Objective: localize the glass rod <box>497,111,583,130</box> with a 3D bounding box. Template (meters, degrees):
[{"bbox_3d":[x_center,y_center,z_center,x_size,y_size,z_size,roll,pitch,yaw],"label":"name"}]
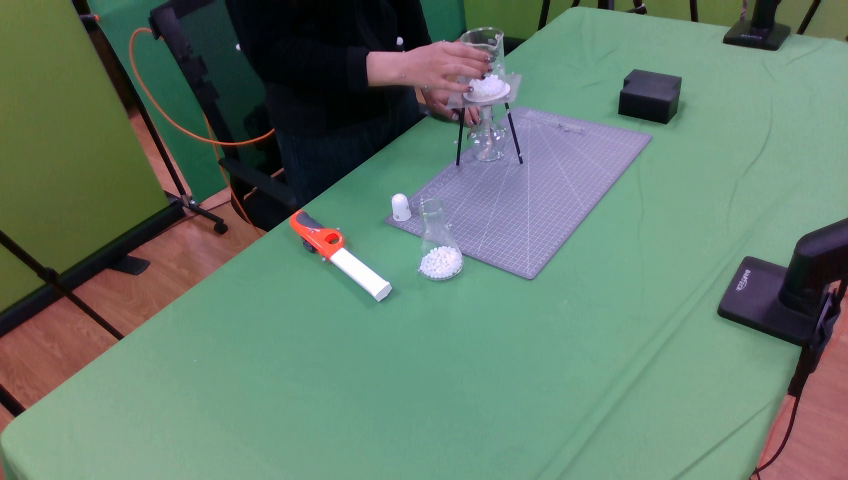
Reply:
[{"bbox_3d":[0.233,-0.245,1.235,0.198,0.008,0.008,20,49,34],"label":"glass rod"}]

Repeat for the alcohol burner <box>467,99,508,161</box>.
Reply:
[{"bbox_3d":[0.119,-0.210,1.134,0.078,0.119,0.077,-4,39,4],"label":"alcohol burner"}]

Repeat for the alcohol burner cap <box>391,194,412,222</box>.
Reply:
[{"bbox_3d":[-0.041,-0.057,1.040,0.034,0.048,0.033,-6,39,5],"label":"alcohol burner cap"}]

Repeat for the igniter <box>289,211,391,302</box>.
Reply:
[{"bbox_3d":[-0.146,0.019,0.986,0.057,0.025,0.274,-40,48,-18],"label":"igniter"}]

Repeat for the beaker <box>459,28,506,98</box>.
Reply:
[{"bbox_3d":[0.107,-0.306,1.055,0.074,0.101,0.083,-25,41,-17],"label":"beaker"}]

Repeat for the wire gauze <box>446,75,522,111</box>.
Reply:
[{"bbox_3d":[0.110,-0.268,1.086,0.121,0.011,0.125,1,41,16],"label":"wire gauze"}]

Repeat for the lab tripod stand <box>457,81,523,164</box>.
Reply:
[{"bbox_3d":[0.120,-0.219,1.129,0.148,0.132,0.147,-7,39,6],"label":"lab tripod stand"}]

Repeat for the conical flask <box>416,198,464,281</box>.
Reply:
[{"bbox_3d":[0.019,-0.004,0.907,0.075,0.122,0.075,-5,40,5],"label":"conical flask"}]
